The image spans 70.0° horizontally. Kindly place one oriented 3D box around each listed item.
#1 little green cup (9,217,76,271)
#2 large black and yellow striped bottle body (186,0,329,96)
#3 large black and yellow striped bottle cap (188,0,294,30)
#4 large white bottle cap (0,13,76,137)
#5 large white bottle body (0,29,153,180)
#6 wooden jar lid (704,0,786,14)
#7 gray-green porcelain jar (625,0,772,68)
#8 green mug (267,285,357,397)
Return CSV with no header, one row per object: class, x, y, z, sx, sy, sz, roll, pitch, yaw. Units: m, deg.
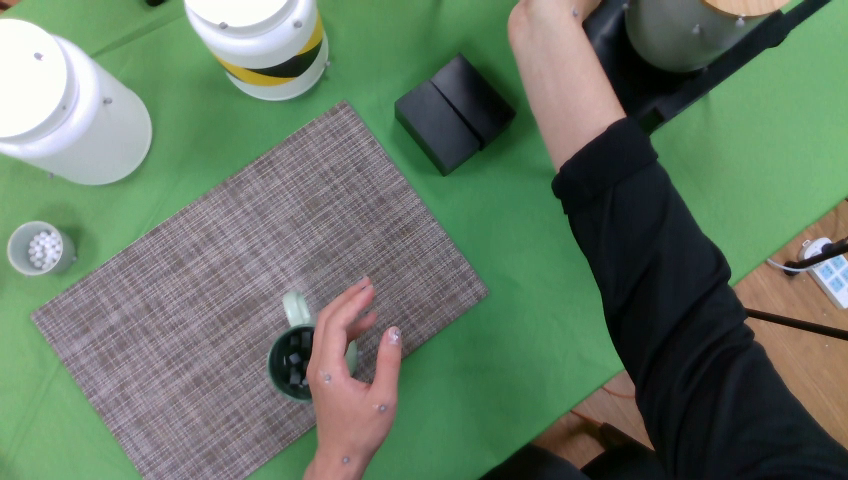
little green cup,-0.438,0.006,0.701,0.061,0.038,0.061,0,85,-3
large black and yellow striped bottle body,-0.180,-0.249,0.667,0.131,0.184,0.130,0,84,-2
large black and yellow striped bottle cap,-0.178,-0.260,0.584,0.115,0.019,0.114,0,84,-4
large white bottle cap,-0.385,-0.153,0.561,0.115,0.018,0.114,0,85,-3
large white bottle body,-0.389,-0.143,0.645,0.131,0.185,0.130,0,84,-2
wooden jar lid,0.247,-0.227,0.475,0.108,0.021,0.108,0,87,-4
gray-green porcelain jar,0.245,-0.220,0.536,0.106,0.126,0.105,0,83,-2
green mug,-0.128,0.111,0.670,0.092,0.105,0.125,-19,85,-4
